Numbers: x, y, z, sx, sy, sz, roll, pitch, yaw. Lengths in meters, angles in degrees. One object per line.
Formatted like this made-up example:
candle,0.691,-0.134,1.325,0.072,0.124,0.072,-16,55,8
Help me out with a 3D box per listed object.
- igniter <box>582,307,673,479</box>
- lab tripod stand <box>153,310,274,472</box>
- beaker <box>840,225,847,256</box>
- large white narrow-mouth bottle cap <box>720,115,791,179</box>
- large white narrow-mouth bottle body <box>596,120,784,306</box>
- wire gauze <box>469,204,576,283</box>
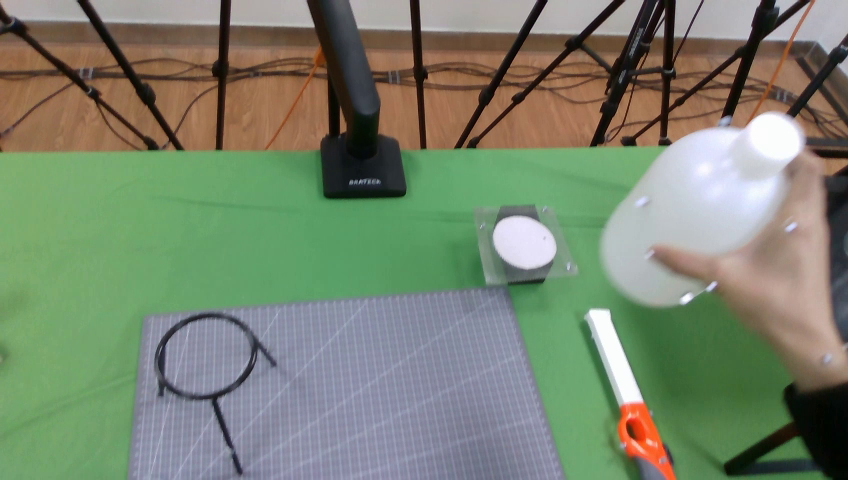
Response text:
igniter,0.242,0.201,0.711,0.057,0.025,0.273,4,52,-20
lab tripod stand,-0.208,0.145,0.608,0.149,0.132,0.147,6,53,-7
beaker,0.509,-0.018,0.649,0.074,0.101,0.083,3,52,-7
large white narrow-mouth bottle cap,0.212,-0.060,0.389,0.038,0.024,0.037,2,66,-3
large white narrow-mouth bottle body,0.207,-0.023,0.466,0.102,0.196,0.101,2,66,-3
wire gauze,0.126,0.000,0.795,0.122,0.011,0.124,-2,54,-11
